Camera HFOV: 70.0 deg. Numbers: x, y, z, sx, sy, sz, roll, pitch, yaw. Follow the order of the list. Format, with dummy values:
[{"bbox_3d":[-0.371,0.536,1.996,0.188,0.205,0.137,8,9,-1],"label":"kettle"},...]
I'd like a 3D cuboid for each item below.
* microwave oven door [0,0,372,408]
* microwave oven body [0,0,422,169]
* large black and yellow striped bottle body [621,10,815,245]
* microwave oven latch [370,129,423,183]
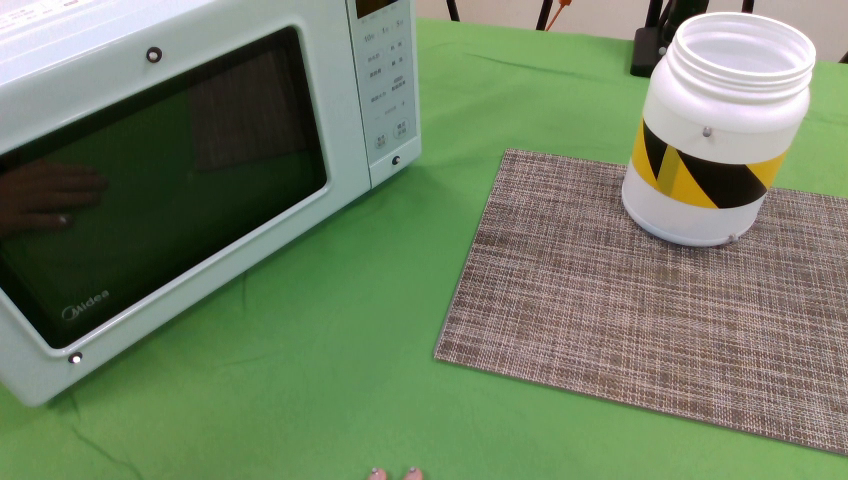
[{"bbox_3d":[-0.194,-0.051,0.474,0.039,0.246,0.355,34,56,31],"label":"microwave oven door"},{"bbox_3d":[-0.269,-0.139,0.571,0.323,0.262,0.441,34,57,30],"label":"microwave oven body"},{"bbox_3d":[0.265,-0.100,0.560,0.131,0.186,0.129,-1,46,2],"label":"large black and yellow striped bottle body"},{"bbox_3d":[-0.035,-0.095,0.653,0.079,0.030,0.030,-36,55,-27],"label":"microwave oven latch"}]
